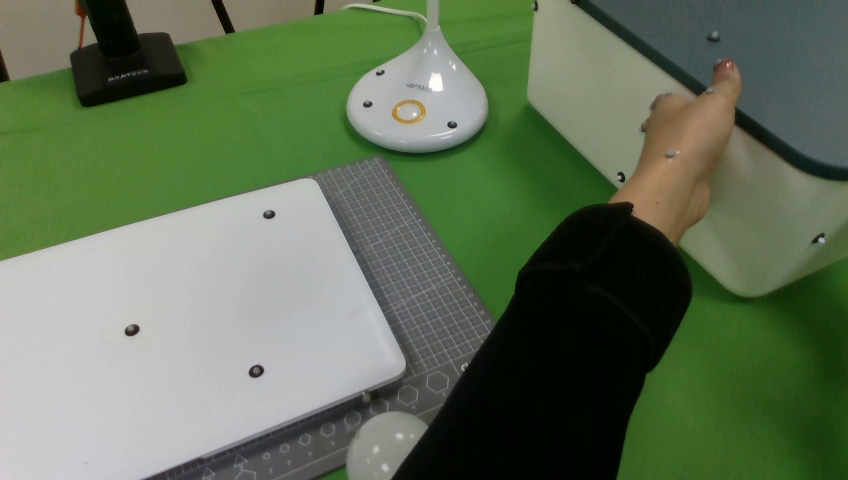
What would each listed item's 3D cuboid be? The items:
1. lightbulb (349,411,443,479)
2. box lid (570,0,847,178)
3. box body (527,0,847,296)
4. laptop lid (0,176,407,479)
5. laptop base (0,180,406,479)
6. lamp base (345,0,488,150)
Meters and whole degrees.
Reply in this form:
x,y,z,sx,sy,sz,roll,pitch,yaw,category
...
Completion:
x,y,z,sx,sy,sz,roll,pitch,yaw,category
-0.010,0.160,0.376,0.059,0.060,0.106,-15,65,-14,lightbulb
0.292,-0.196,0.531,0.264,0.015,0.367,-19,51,-19,box lid
0.292,-0.143,0.585,0.254,0.162,0.360,-20,51,-19,box body
-0.216,0.069,0.459,0.357,0.013,0.239,-17,52,-16,laptop lid
-0.217,0.076,0.469,0.355,0.023,0.233,-18,54,-17,laptop base
-0.007,-0.216,0.634,0.160,0.182,0.177,7,45,6,lamp base
